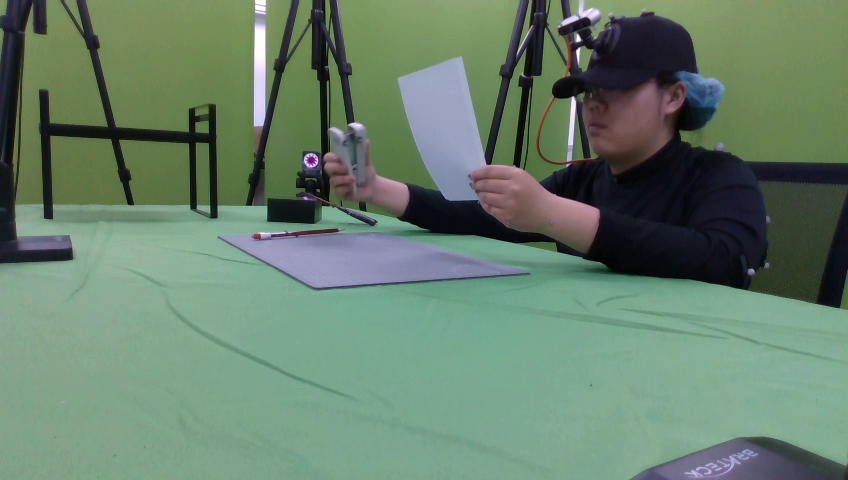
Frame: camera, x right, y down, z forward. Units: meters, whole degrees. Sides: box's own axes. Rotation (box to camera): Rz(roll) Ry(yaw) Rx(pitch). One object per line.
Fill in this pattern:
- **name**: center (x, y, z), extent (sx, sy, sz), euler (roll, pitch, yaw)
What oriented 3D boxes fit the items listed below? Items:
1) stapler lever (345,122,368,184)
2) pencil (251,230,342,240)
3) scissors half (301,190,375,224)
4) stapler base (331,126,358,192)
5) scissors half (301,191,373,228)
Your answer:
- **stapler lever**: center (-0.120, -0.160, 1.104), extent (0.040, 0.118, 0.026), euler (-31, 50, -26)
- **pencil**: center (-0.215, -0.011, 1.049), extent (0.012, 0.012, 0.195), euler (9, 9, 39)
- **scissors half**: center (-0.189, -0.073, 1.333), extent (0.175, 0.013, 0.040), euler (23, 11, -10)
- **stapler base**: center (-0.139, -0.149, 1.092), extent (0.024, 0.130, 0.041), euler (-31, 50, -26)
- **scissors half**: center (-0.191, -0.069, 1.314), extent (0.175, 0.013, 0.040), euler (27, 16, 7)
